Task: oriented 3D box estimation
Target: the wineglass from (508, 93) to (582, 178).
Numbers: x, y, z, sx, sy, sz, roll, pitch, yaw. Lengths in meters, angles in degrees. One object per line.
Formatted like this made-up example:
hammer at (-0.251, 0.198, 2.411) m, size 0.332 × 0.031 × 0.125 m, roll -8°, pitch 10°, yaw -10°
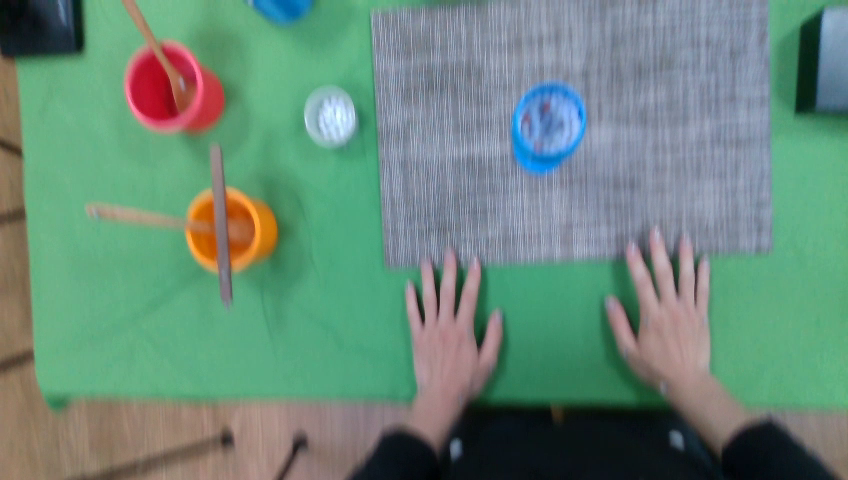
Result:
wineglass at (0.124, -0.105, 0.638) m, size 0.073 × 0.172 × 0.073 m, roll 0°, pitch 91°, yaw 8°

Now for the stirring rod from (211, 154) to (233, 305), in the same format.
stirring rod at (-0.234, -0.012, 0.702) m, size 0.014 × 0.006 × 0.176 m, roll -3°, pitch 91°, yaw 8°

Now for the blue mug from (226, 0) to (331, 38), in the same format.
blue mug at (-0.167, -0.291, 0.708) m, size 0.116 × 0.106 × 0.082 m, roll 11°, pitch 93°, yaw 7°

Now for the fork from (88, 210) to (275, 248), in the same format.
fork at (-0.276, -0.013, 0.710) m, size 0.209 × 0.018 × 0.028 m, roll 9°, pitch 101°, yaw -36°

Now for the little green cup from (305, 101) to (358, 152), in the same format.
little green cup at (-0.111, -0.136, 0.740) m, size 0.061 × 0.038 × 0.061 m, roll 0°, pitch 92°, yaw 8°

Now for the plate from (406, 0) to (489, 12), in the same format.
plate at (0.033, -0.371, 0.714) m, size 0.209 × 0.038 × 0.209 m, roll 0°, pitch 92°, yaw 7°

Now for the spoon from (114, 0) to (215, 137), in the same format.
spoon at (-0.305, -0.204, 0.709) m, size 0.041 × 0.021 × 0.196 m, roll -16°, pitch 133°, yaw 6°
